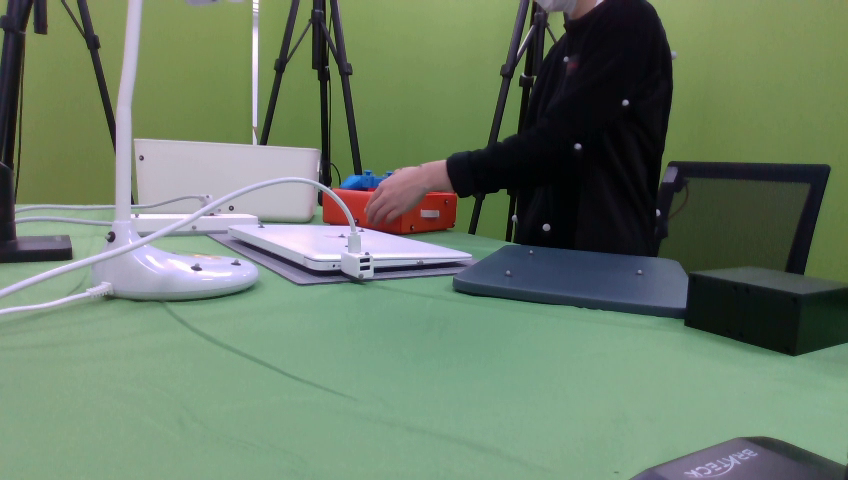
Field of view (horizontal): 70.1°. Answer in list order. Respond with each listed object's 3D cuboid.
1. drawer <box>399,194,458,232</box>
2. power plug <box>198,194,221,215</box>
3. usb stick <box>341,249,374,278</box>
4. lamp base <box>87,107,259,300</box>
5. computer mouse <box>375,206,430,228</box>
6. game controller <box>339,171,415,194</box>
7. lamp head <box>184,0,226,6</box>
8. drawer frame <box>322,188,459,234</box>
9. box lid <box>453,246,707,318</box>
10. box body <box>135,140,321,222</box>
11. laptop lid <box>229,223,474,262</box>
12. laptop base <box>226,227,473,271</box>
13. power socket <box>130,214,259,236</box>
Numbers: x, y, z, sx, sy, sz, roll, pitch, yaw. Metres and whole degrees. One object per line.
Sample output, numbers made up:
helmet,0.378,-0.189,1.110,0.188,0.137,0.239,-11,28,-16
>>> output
drawer,-0.067,-0.066,1.278,0.211,0.073,0.195,7,9,34
power plug,-0.386,-0.055,1.088,0.035,0.052,0.072,-2,7,-24
usb stick,-0.079,0.026,0.686,0.021,0.027,0.059,-7,9,-30
lamp base,-0.254,-0.039,0.603,0.160,0.180,0.179,5,10,18
computer mouse,-0.044,-0.048,1.257,0.062,0.041,0.118,13,16,42
game controller,-0.094,-0.120,1.283,0.155,0.051,0.097,5,4,9
lamp head,-0.229,-0.320,0.627,0.112,0.112,0.123,6,-36,26
drawer frame,-0.069,-0.067,1.277,0.212,0.082,0.203,7,9,35
box lid,0.204,0.044,0.780,0.262,0.015,0.372,5,7,17
box body,-0.420,-0.133,1.354,0.365,0.160,0.253,2,7,-8
laptop lid,-0.121,0.000,0.888,0.243,0.013,0.355,1,7,-33
laptop base,-0.124,0.011,0.888,0.237,0.023,0.352,2,6,-35
power socket,-0.397,-0.028,1.048,0.228,0.032,0.072,-3,7,-35
